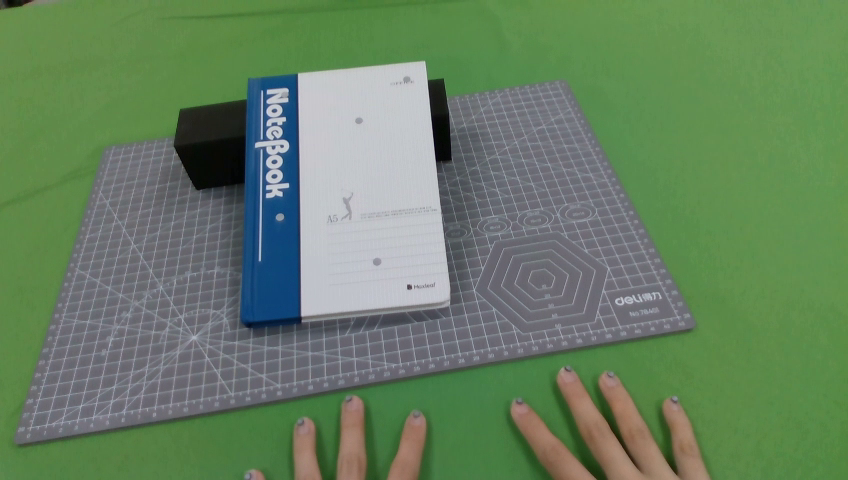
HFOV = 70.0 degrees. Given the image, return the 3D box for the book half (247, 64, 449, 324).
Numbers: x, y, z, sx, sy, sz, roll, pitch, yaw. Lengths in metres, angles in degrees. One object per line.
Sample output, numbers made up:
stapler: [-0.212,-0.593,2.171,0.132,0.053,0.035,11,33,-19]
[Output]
book half: [-0.061,-0.043,0.460,0.143,0.007,0.208,-6,66,0]
